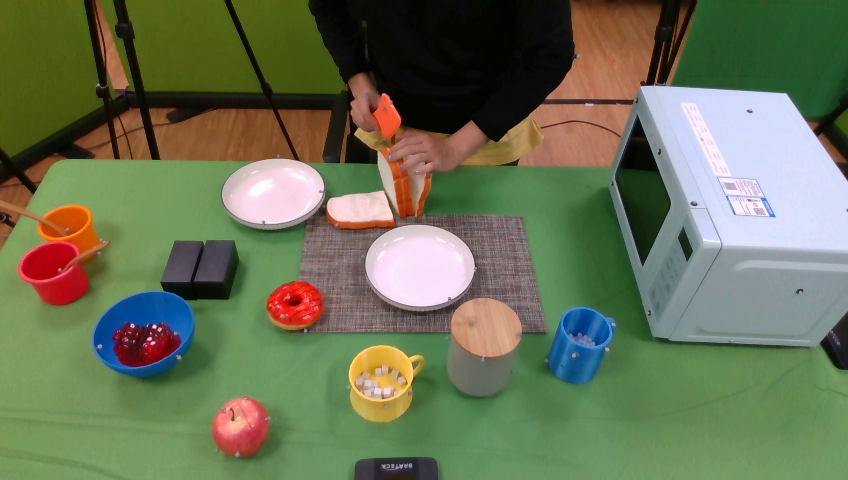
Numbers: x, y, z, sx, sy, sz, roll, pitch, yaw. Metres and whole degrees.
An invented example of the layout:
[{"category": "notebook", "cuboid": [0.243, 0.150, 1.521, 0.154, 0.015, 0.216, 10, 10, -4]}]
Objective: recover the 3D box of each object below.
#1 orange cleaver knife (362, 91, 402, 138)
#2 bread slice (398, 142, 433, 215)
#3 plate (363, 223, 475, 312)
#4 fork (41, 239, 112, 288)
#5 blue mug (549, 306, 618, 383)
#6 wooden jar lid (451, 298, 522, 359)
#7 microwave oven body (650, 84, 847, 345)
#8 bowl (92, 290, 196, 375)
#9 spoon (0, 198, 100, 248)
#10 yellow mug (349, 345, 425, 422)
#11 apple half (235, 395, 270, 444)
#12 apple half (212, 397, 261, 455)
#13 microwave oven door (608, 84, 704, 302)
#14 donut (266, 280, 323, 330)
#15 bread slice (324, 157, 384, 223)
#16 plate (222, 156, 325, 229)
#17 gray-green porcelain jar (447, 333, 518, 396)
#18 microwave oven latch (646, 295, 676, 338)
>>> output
[{"category": "orange cleaver knife", "cuboid": [-0.088, -0.247, 1.243, 0.012, 0.211, 0.077, -31, 97, -18]}, {"category": "bread slice", "cuboid": [-0.015, -0.132, 1.245, 0.019, 0.132, 0.104, -6, 46, -27]}, {"category": "plate", "cuboid": [-0.009, 0.054, 1.126, 0.208, 0.039, 0.206, 2, 46, -2]}, {"category": "fork", "cuboid": [-0.591, 0.040, 1.028, 0.207, 0.019, 0.028, -27, 37, 29]}, {"category": "blue mug", "cuboid": [0.269, 0.167, 0.997, 0.116, 0.106, 0.082, -19, 51, -21]}, {"category": "wooden jar lid", "cuboid": [0.093, 0.135, 0.915, 0.108, 0.021, 0.107, 2, 48, -3]}, {"category": "microwave oven body", "cuboid": [0.569, -0.054, 1.116, 0.326, 0.261, 0.439, 2, 46, -1]}, {"category": "bowl", "cuboid": [-0.436, 0.161, 0.971, 0.151, 0.077, 0.150, 2, 46, -2]}, {"category": "spoon", "cuboid": [-0.684, -0.035, 1.092, 0.021, 0.195, 0.041, -34, 41, 26]}, {"category": "yellow mug", "cuboid": [-0.054, 0.217, 0.954, 0.131, 0.064, 0.099, -23, 52, -25]}, {"category": "apple half", "cuboid": [-0.245, 0.260, 0.893, 0.033, 0.082, 0.081, -29, 55, -22]}, {"category": "apple half", "cuboid": [-0.276, 0.276, 0.877, 0.053, 0.075, 0.080, -29, 58, -21]}, {"category": "microwave oven door", "cuboid": [0.424, -0.096, 1.138, 0.039, 0.245, 0.353, 2, 46, -1]}, {"category": "donut", "cuboid": [-0.223, 0.113, 1.051, 0.099, 0.048, 0.098, 2, 46, -2]}, {"category": "bread slice", "cuboid": [-0.144, -0.096, 1.206, 0.134, 0.018, 0.106, -33, 49, 20]}, {"category": "plate", "cuboid": [-0.308, -0.095, 1.251, 0.209, 0.038, 0.208, 2, 46, -2]}, {"category": "gray-green porcelain jar", "cuboid": [0.091, 0.178, 0.960, 0.106, 0.127, 0.105, 2, 46, -2]}, {"category": "microwave oven latch", "cuboid": [0.413, 0.133, 1.060, 0.030, 0.029, 0.078, 4, 46, 1]}]
